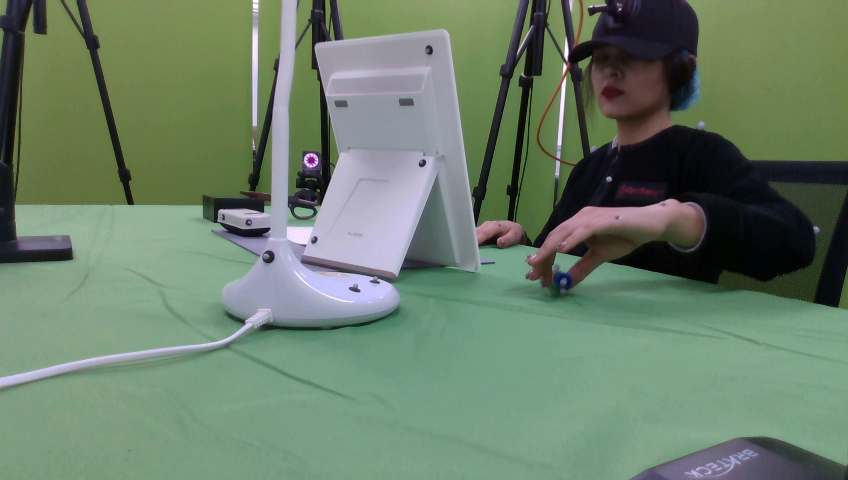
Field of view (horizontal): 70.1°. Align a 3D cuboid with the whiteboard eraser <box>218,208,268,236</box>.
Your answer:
[{"bbox_3d":[-0.309,-0.031,1.044,0.056,0.042,0.112,-2,9,-40],"label":"whiteboard eraser"}]

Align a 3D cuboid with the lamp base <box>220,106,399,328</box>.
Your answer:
[{"bbox_3d":[-0.101,-0.023,0.531,0.160,0.180,0.179,4,10,10],"label":"lamp base"}]

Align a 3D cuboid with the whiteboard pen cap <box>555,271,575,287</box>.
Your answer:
[{"bbox_3d":[0.148,0.041,0.639,0.018,0.018,0.033,3,-2,3],"label":"whiteboard pen cap"}]

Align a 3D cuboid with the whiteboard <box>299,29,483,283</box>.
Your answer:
[{"bbox_3d":[-0.074,-0.082,0.742,0.216,0.305,0.144,9,29,38],"label":"whiteboard"}]

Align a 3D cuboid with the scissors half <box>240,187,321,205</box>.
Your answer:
[{"bbox_3d":[-0.311,-0.097,1.319,0.176,0.040,0.012,-1,30,-25],"label":"scissors half"}]

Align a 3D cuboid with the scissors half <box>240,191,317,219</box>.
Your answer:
[{"bbox_3d":[-0.318,-0.079,1.326,0.176,0.040,0.013,18,16,-31],"label":"scissors half"}]

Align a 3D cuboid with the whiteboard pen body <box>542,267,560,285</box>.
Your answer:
[{"bbox_3d":[0.152,0.041,0.699,0.017,0.017,0.141,3,0,4],"label":"whiteboard pen body"}]
